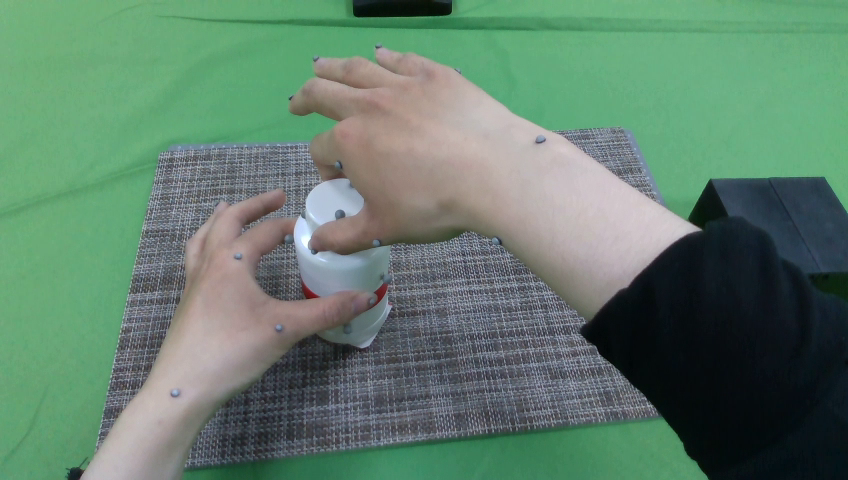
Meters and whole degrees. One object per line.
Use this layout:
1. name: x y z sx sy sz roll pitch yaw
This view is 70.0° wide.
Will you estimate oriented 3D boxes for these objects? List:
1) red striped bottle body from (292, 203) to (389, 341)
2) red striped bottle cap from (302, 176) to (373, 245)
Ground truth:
1. red striped bottle body: -0.057 0.014 0.417 0.063 0.120 0.062 3 51 -4
2. red striped bottle cap: -0.053 -0.019 0.376 0.044 0.018 0.044 5 52 -6
